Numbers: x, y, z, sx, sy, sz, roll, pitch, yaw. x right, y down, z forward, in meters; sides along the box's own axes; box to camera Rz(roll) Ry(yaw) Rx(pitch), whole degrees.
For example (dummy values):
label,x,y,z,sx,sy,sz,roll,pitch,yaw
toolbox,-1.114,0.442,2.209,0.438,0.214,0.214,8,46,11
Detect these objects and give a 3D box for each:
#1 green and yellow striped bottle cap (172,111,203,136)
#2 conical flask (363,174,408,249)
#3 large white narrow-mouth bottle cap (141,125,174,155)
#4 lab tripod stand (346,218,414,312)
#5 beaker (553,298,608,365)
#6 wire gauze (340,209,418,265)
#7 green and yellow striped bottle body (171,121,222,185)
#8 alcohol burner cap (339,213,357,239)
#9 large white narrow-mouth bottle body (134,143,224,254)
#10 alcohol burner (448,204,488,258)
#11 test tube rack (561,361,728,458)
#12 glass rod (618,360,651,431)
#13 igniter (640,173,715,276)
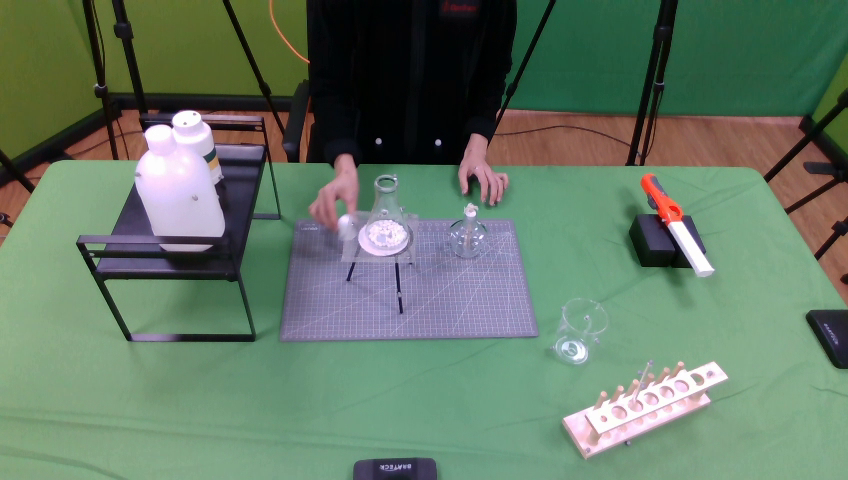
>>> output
label,x,y,z,sx,sy,sz,roll,pitch,yaw
green and yellow striped bottle cap,-0.374,-0.185,0.958,0.045,0.020,0.045,4,46,-4
conical flask,-0.063,-0.050,0.985,0.075,0.122,0.075,2,46,-1
large white narrow-mouth bottle cap,-0.356,-0.134,0.810,0.038,0.024,0.037,2,48,-2
lab tripod stand,-0.070,0.037,1.075,0.148,0.132,0.147,1,47,-1
beaker,0.260,0.154,1.015,0.073,0.101,0.084,37,54,27
wire gauze,-0.074,-0.006,1.024,0.121,0.011,0.124,2,48,1
green and yellow striped bottle body,-0.375,-0.149,0.995,0.063,0.120,0.063,2,46,-2
alcohol burner cap,-0.145,-0.029,1.143,0.034,0.048,0.033,-2,40,2
large white narrow-mouth bottle body,-0.358,-0.075,0.875,0.102,0.195,0.101,2,48,-2
alcohol burner,0.085,-0.023,1.159,0.078,0.120,0.077,1,47,-1
test tube rack,0.341,0.248,0.940,0.243,0.085,0.066,-15,49,-18
glass rod,0.298,0.227,0.865,0.008,0.201,0.008,-2,48,2
igniter,0.495,-0.039,1.204,0.057,0.025,0.274,-2,47,-12
